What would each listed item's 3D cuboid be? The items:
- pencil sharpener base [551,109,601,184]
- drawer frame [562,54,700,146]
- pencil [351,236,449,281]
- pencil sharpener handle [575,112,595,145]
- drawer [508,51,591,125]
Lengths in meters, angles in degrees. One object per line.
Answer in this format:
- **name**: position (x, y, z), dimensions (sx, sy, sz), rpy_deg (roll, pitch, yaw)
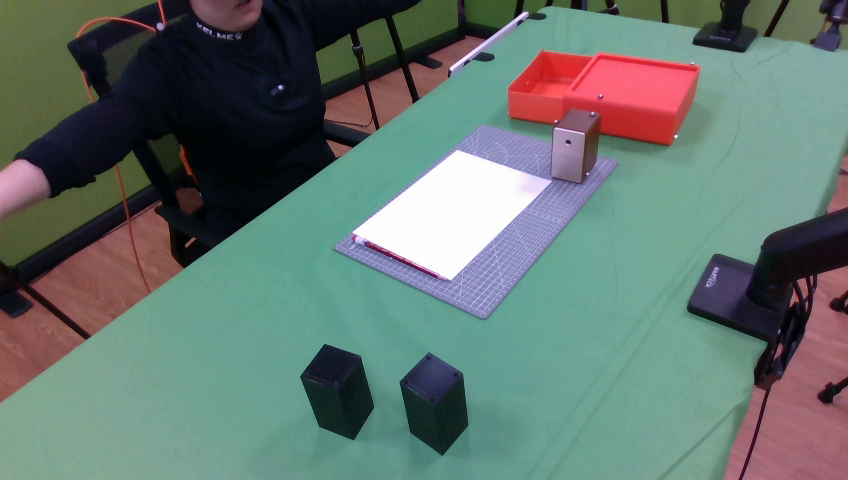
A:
- **pencil sharpener base**: position (0.265, -0.164, 1.053), dimensions (0.061, 0.107, 0.077), rpy_deg (17, 46, 27)
- **drawer frame**: position (0.406, -0.282, 1.195), dimensions (0.212, 0.083, 0.202), rpy_deg (17, 45, 25)
- **pencil**: position (-0.041, 0.029, 0.946), dimensions (0.192, 0.012, 0.012), rpy_deg (22, 48, 29)
- **pencil sharpener handle**: position (0.290, -0.203, 1.077), dimensions (0.036, 0.068, 0.031), rpy_deg (20, 47, 25)
- **drawer**: position (0.304, -0.309, 1.246), dimensions (0.210, 0.073, 0.195), rpy_deg (16, 45, 25)
